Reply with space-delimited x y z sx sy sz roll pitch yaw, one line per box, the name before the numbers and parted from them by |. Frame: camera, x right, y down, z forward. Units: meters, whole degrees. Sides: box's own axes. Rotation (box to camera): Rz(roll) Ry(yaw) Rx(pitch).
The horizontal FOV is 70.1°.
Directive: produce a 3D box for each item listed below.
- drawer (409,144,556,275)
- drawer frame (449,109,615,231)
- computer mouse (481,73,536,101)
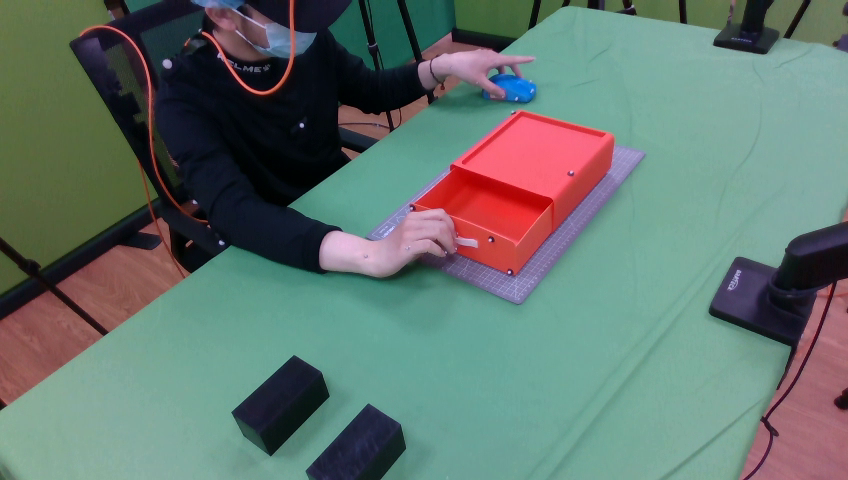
drawer | 0.117 -0.060 0.973 0.193 0.073 0.212 22 49 31
drawer frame | 0.185 -0.126 1.037 0.200 0.083 0.214 22 48 31
computer mouse | 0.185 -0.335 1.320 0.116 0.041 0.063 15 43 18
